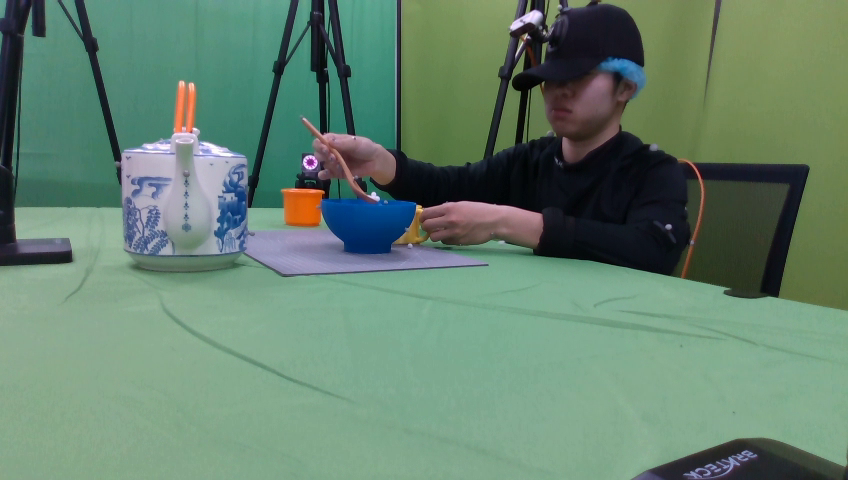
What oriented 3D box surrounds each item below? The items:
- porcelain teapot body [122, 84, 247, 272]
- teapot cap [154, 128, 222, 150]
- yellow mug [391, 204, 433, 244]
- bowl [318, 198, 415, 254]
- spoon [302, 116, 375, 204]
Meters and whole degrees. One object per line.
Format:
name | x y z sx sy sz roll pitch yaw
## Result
porcelain teapot body | -0.286 -0.075 0.733 0.146 0.225 0.204 0 8 -24
teapot cap | -0.294 -0.117 0.754 0.085 0.044 0.085 4 9 0
yellow mug | -0.042 -0.030 1.070 0.130 0.064 0.100 7 9 28
bowl | -0.089 -0.022 0.941 0.151 0.077 0.151 2 7 0
spoon | -0.139 -0.129 0.972 0.021 0.193 0.042 -37 -13 7
